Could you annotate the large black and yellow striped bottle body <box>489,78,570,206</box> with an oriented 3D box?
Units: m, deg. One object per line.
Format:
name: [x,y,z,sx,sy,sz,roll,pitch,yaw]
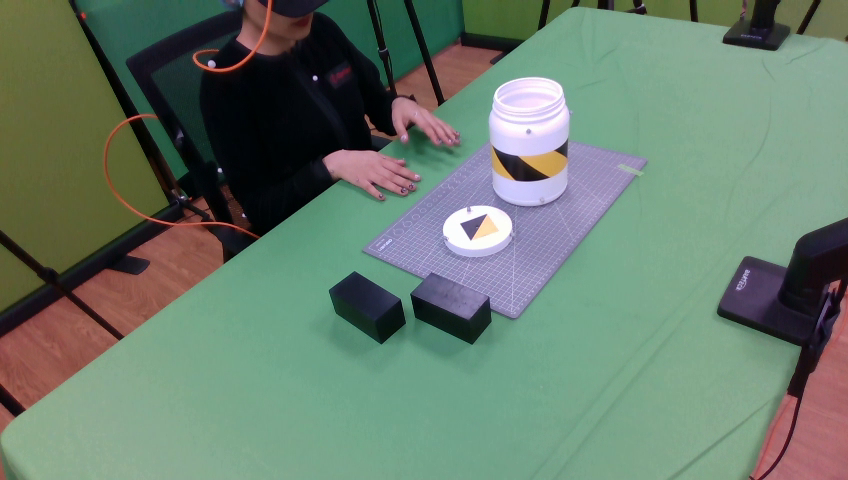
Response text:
large black and yellow striped bottle body: [0.177,-0.164,1.012,0.131,0.185,0.130,-5,40,5]

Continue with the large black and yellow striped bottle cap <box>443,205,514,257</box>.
large black and yellow striped bottle cap: [0.088,-0.016,0.986,0.115,0.019,0.114,-4,41,4]
